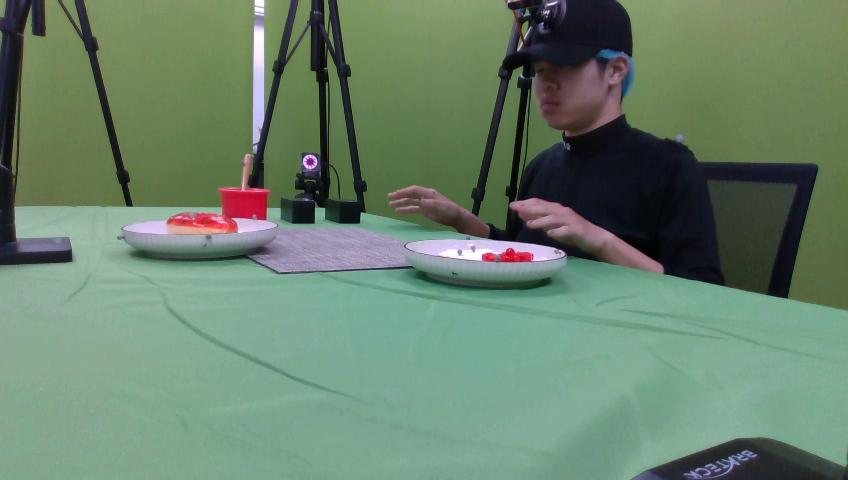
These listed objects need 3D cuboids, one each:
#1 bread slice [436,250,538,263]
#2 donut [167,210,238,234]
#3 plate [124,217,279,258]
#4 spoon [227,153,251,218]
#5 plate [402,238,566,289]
[{"bbox_3d":[0.078,0.031,0.774,0.105,0.019,0.131,-4,11,-44],"label":"bread slice"},{"bbox_3d":[-0.321,-0.017,0.882,0.099,0.048,0.099,3,6,0],"label":"donut"},{"bbox_3d":[-0.315,-0.004,0.871,0.208,0.039,0.207,1,8,0],"label":"plate"},{"bbox_3d":[-0.363,-0.107,1.211,0.042,0.021,0.193,-1,47,-7],"label":"spoon"},{"bbox_3d":[0.074,0.029,0.772,0.209,0.038,0.209,3,7,0],"label":"plate"}]
